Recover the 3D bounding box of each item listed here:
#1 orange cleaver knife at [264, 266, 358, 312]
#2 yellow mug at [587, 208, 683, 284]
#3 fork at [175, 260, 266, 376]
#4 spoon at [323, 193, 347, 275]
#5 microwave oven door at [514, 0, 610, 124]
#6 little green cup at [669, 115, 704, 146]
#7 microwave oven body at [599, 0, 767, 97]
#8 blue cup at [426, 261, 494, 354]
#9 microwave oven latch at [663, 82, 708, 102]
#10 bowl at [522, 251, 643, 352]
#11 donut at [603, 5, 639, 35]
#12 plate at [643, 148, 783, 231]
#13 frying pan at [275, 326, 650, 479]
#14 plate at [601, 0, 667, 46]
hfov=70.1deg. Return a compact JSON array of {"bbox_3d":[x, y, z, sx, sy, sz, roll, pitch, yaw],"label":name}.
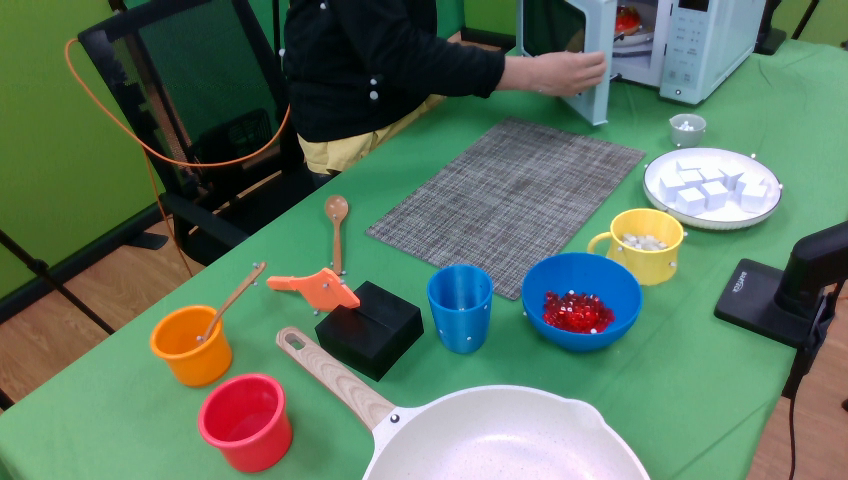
[{"bbox_3d":[-0.165,0.073,0.864,0.210,0.077,0.012,-6,31,49],"label":"orange cleaver knife"},{"bbox_3d":[0.305,0.009,0.884,0.131,0.064,0.099,-4,40,5],"label":"yellow mug"},{"bbox_3d":[-0.268,0.103,0.792,0.207,0.019,0.028,-51,41,16],"label":"fork"},{"bbox_3d":[-0.148,-0.014,1.008,0.042,0.022,0.192,1,40,-9],"label":"spoon"},{"bbox_3d":[0.275,-0.422,1.225,0.039,0.245,0.353,-18,42,-11],"label":"microwave oven door"},{"bbox_3d":[0.485,-0.203,1.123,0.061,0.039,0.061,-6,38,5],"label":"little green cup"},{"bbox_3d":[0.473,-0.516,1.313,0.438,0.261,0.327,26,51,34],"label":"microwave oven body"},{"bbox_3d":[0.050,0.095,0.791,0.092,0.100,0.092,-3,42,3],"label":"blue cup"},{"bbox_3d":[0.518,-0.299,1.202,0.078,0.029,0.030,30,53,36],"label":"microwave oven latch"},{"bbox_3d":[0.204,0.093,0.792,0.151,0.077,0.150,-4,40,4],"label":"bowl"},{"bbox_3d":[0.428,-0.490,1.349,0.099,0.048,0.098,-6,40,6],"label":"donut"},{"bbox_3d":[0.464,-0.080,0.986,0.207,0.039,0.206,-4,41,4],"label":"plate"},{"bbox_3d":[0.003,0.229,0.641,0.484,0.103,0.308,34,54,28],"label":"frying pan"},{"bbox_3d":[0.436,-0.488,1.367,0.209,0.038,0.208,-4,41,4],"label":"plate"}]
